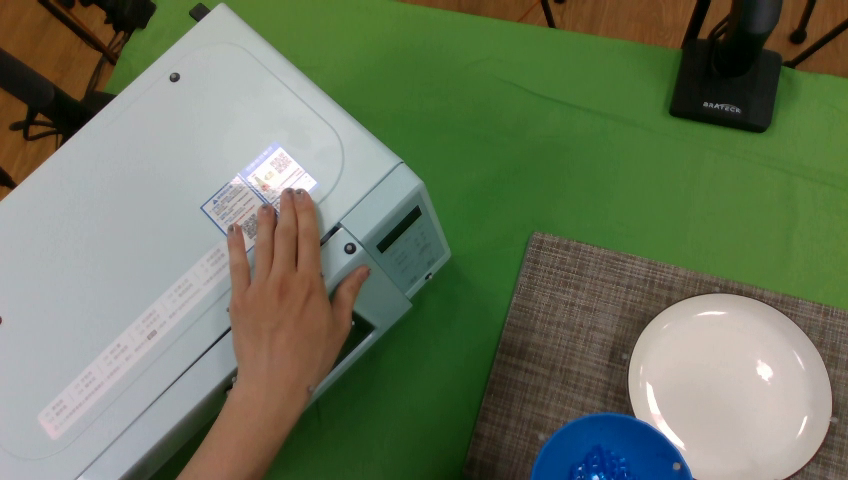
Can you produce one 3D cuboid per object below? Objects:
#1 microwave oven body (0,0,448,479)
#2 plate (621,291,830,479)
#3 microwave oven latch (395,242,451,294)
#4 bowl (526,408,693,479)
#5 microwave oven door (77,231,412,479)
[{"bbox_3d":[-0.245,0.029,0.668,0.324,0.262,0.441,43,84,17],"label":"microwave oven body"},{"bbox_3d":[0.320,0.160,0.659,0.207,0.039,0.206,-2,73,8],"label":"plate"},{"bbox_3d":[-0.002,0.027,0.734,0.079,0.030,0.030,-44,72,-5],"label":"microwave oven latch"},{"bbox_3d":[0.165,0.236,0.569,0.151,0.077,0.150,0,74,1],"label":"bowl"},{"bbox_3d":[-0.170,0.153,0.613,0.355,0.245,0.039,-44,70,-6],"label":"microwave oven door"}]
